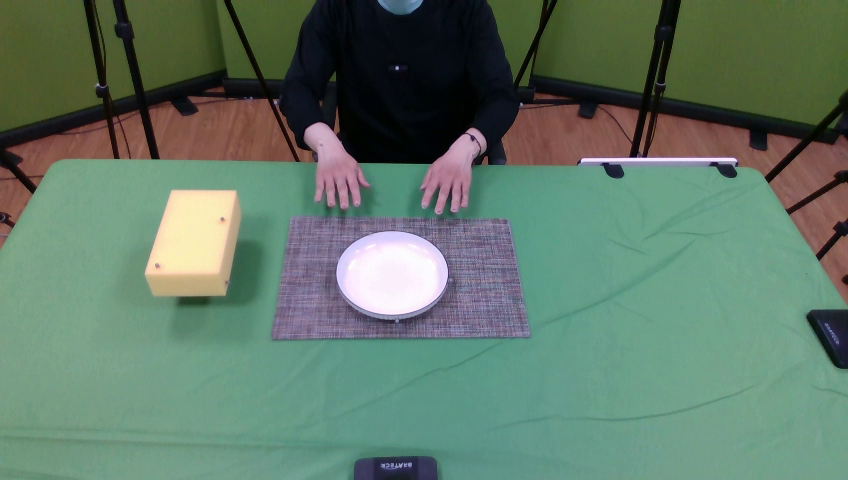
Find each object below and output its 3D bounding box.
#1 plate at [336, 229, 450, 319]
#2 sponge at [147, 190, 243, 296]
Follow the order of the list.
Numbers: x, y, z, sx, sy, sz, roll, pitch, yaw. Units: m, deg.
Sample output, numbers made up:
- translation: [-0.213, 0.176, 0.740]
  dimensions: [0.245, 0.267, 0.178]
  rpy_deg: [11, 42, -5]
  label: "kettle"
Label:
- translation: [-0.056, 0.065, 1.113]
  dimensions: [0.208, 0.039, 0.206]
  rpy_deg: [2, 46, -2]
  label: "plate"
- translation: [-0.398, 0.001, 1.071]
  dimensions: [0.118, 0.061, 0.205]
  rpy_deg: [-1, 46, -5]
  label: "sponge"
